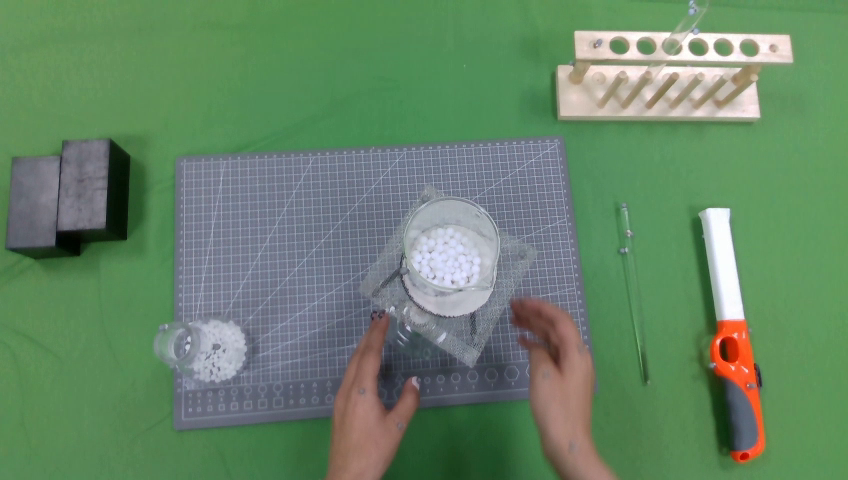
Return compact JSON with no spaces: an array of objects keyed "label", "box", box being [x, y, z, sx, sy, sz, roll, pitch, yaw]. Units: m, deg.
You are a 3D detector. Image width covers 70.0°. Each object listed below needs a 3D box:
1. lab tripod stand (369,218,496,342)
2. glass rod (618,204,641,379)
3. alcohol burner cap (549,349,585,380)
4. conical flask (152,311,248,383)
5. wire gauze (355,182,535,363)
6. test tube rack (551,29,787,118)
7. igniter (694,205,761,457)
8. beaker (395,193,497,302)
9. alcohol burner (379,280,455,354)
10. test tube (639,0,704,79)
[{"label":"lab tripod stand","box":[0.014,0.039,0.610,0.148,0.132,0.147,0,79,-1]},{"label":"glass rod","box":[0.232,0.056,0.684,0.008,0.008,0.199,-2,80,-4]},{"label":"alcohol burner cap","box":[0.154,0.131,0.643,0.034,0.048,0.033,1,76,-3]},{"label":"conical flask","box":[-0.222,0.101,0.590,0.075,0.122,0.075,1,77,-2]},{"label":"wire gauze","box":[0.020,0.026,0.546,0.125,0.011,0.121,33,81,3]},{"label":"test tube rack","box":[0.278,-0.190,0.701,0.242,0.085,0.066,0,77,-3]},{"label":"igniter","box":[0.335,0.095,0.671,0.057,0.025,0.275,0,77,-14]},{"label":"beaker","box":[0.018,0.013,0.499,0.074,0.100,0.084,-43,83,-10]},{"label":"alcohol burner","box":[-0.007,0.076,0.611,0.078,0.119,0.077,0,77,0]},{"label":"test tube","box":[0.263,-0.215,0.655,0.017,0.151,0.017,0,77,0]}]
